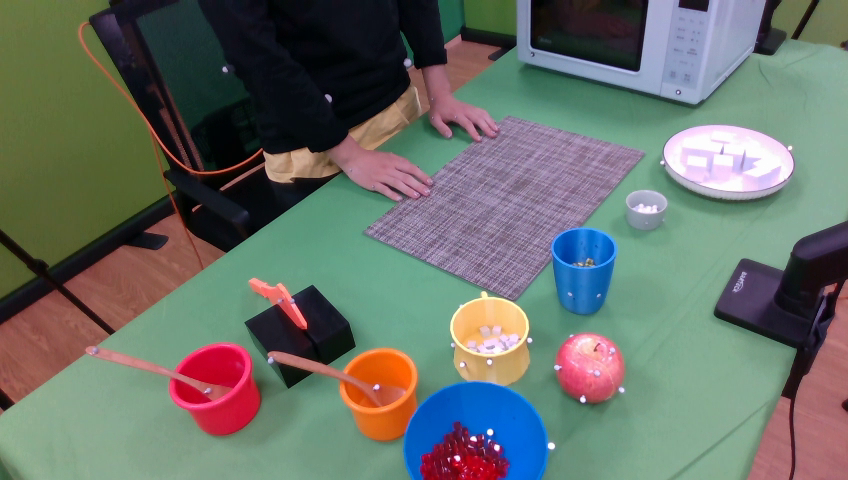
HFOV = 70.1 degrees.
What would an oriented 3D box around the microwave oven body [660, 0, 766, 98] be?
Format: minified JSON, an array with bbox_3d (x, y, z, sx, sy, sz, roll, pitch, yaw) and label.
[{"bbox_3d":[0.472,-0.513,1.317,0.438,0.261,0.327,26,51,34],"label":"microwave oven body"}]

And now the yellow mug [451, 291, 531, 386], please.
[{"bbox_3d":[0.085,0.120,0.786,0.100,0.064,0.130,-7,39,1],"label":"yellow mug"}]

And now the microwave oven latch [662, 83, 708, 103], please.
[{"bbox_3d":[0.518,-0.296,1.204,0.078,0.029,0.030,27,52,35],"label":"microwave oven latch"}]

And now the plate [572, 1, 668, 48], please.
[{"bbox_3d":[0.441,-0.483,1.366,0.209,0.038,0.208,-5,41,4],"label":"plate"}]

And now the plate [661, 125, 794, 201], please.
[{"bbox_3d":[0.513,-0.128,1.035,0.207,0.039,0.206,-4,40,4],"label":"plate"}]

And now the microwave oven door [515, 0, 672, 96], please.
[{"bbox_3d":[0.343,-0.455,1.259,0.353,0.245,0.039,26,51,33],"label":"microwave oven door"}]

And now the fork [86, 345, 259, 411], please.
[{"bbox_3d":[-0.298,0.166,0.728,0.209,0.018,0.028,28,47,-23],"label":"fork"}]

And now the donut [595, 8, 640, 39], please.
[{"bbox_3d":[0.436,-0.488,1.359,0.099,0.048,0.098,-11,34,9],"label":"donut"}]

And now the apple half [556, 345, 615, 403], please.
[{"bbox_3d":[0.181,0.167,0.709,0.080,0.081,0.033,29,50,35],"label":"apple half"}]

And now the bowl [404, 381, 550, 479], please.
[{"bbox_3d":[0.058,0.235,0.645,0.151,0.077,0.150,-4,39,4],"label":"bowl"}]

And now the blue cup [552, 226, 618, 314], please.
[{"bbox_3d":[0.218,0.047,0.826,0.092,0.101,0.092,-6,40,5],"label":"blue cup"}]

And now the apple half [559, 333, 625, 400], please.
[{"bbox_3d":[0.209,0.147,0.730,0.080,0.075,0.053,26,48,38],"label":"apple half"}]

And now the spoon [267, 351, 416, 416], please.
[{"bbox_3d":[-0.090,0.162,0.699,0.021,0.195,0.041,-44,31,27],"label":"spoon"}]

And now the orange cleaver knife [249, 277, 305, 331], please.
[{"bbox_3d":[-0.210,0.088,0.855,0.012,0.077,0.210,-28,15,-25],"label":"orange cleaver knife"}]

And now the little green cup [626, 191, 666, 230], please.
[{"bbox_3d":[0.352,-0.046,0.963,0.061,0.039,0.061,-4,40,4],"label":"little green cup"}]
